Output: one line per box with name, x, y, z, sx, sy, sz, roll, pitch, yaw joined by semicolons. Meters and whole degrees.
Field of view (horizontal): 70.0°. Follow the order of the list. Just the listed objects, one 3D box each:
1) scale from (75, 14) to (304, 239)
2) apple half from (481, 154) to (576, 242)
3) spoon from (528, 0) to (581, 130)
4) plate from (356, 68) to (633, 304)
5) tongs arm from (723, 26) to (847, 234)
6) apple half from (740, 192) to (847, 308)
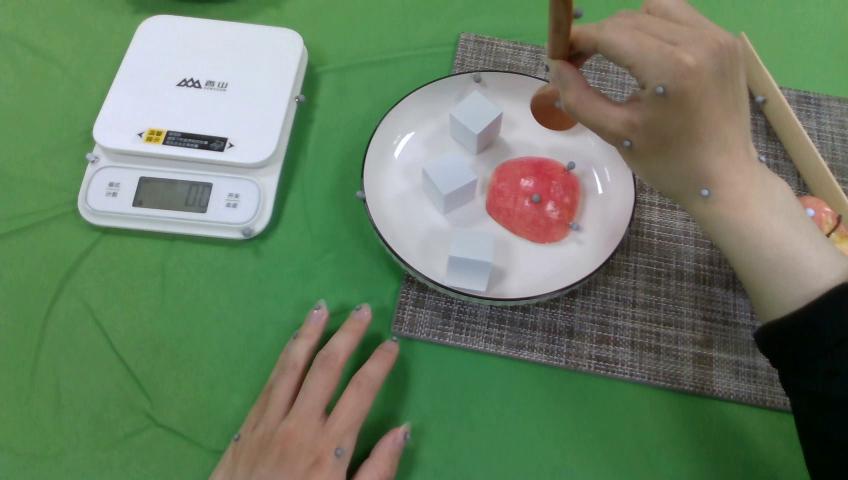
scale;-0.187;-0.099;0.496;0.149;0.032;0.199;6;63;1
apple half;0.083;-0.041;0.466;0.081;0.033;0.080;3;64;-5
spoon;0.087;-0.109;0.398;0.041;0.194;0.021;19;89;12
plate;0.053;-0.043;0.472;0.209;0.038;0.207;1;63;-2
tongs arm;0.334;-0.024;0.481;0.028;0.028;0.384;-11;65;-12
apple half;0.260;0.014;0.433;0.053;0.075;0.080;-25;70;-10
